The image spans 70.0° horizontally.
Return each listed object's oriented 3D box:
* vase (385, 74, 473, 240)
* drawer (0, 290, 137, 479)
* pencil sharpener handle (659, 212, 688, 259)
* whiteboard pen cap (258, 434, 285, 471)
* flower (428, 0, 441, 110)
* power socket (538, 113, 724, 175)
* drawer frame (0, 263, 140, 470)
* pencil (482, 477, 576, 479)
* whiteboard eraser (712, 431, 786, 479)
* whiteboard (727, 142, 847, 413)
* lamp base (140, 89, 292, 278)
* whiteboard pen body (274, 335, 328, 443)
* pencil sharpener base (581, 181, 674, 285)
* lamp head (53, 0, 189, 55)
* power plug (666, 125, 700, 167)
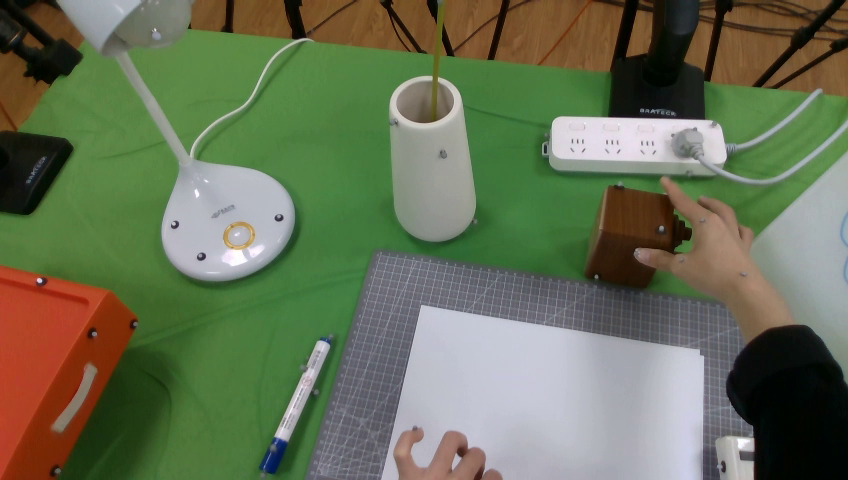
[{"bbox_3d":[0.003,-0.084,0.661,0.098,0.202,0.097,-2,58,4],"label":"vase"},{"bbox_3d":[-0.423,0.124,0.581,0.211,0.074,0.193,11,62,10],"label":"drawer"},{"bbox_3d":[0.267,-0.002,0.633,0.030,0.068,0.035,11,60,10],"label":"pencil sharpener handle"},{"bbox_3d":[-0.149,0.208,0.595,0.018,0.018,0.033,13,55,12],"label":"whiteboard pen cap"},{"bbox_3d":[0.008,-0.141,0.598,0.038,0.365,0.043,-2,41,-5],"label":"flower"},{"bbox_3d":[0.260,-0.121,0.762,0.226,0.033,0.071,3,61,5],"label":"power socket"},{"bbox_3d":[-0.429,0.126,0.584,0.213,0.083,0.200,12,62,8],"label":"drawer frame"},{"bbox_3d":[0.038,0.210,0.520,0.194,0.012,0.012,-4,59,6],"label":"pencil"},{"bbox_3d":[0.295,0.231,0.543,0.055,0.042,0.112,4,60,4],"label":"whiteboard eraser"},{"bbox_3d":[0.485,-0.001,0.553,0.144,0.307,0.215,-9,56,-24],"label":"whiteboard"},{"bbox_3d":[-0.256,-0.072,0.681,0.160,0.182,0.177,-41,62,-19],"label":"lamp base"},{"bbox_3d":[-0.130,0.161,0.626,0.017,0.017,0.140,12,57,12],"label":"whiteboard pen body"},{"bbox_3d":[0.218,-0.005,0.652,0.076,0.108,0.061,11,60,10],"label":"pencil sharpener base"},{"bbox_3d":[-0.228,-0.209,0.423,0.123,0.112,0.112,48,67,-14],"label":"lamp head"},{"bbox_3d":[0.306,-0.106,0.723,0.035,0.053,0.072,12,62,12],"label":"power plug"}]
